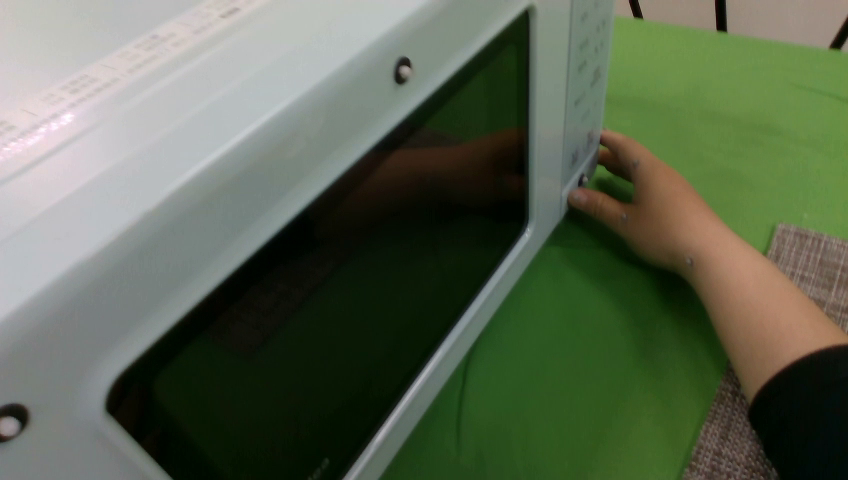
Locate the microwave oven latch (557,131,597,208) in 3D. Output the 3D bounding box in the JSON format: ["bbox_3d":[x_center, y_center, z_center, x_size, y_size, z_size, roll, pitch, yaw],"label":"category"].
[{"bbox_3d":[0.116,-0.061,0.498,0.030,0.030,0.079,23,54,28],"label":"microwave oven latch"}]

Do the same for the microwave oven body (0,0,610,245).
[{"bbox_3d":[-0.116,-0.062,0.401,0.323,0.263,0.440,21,53,27],"label":"microwave oven body"}]

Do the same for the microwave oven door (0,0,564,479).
[{"bbox_3d":[-0.019,0.007,0.308,0.039,0.246,0.354,21,52,27],"label":"microwave oven door"}]
